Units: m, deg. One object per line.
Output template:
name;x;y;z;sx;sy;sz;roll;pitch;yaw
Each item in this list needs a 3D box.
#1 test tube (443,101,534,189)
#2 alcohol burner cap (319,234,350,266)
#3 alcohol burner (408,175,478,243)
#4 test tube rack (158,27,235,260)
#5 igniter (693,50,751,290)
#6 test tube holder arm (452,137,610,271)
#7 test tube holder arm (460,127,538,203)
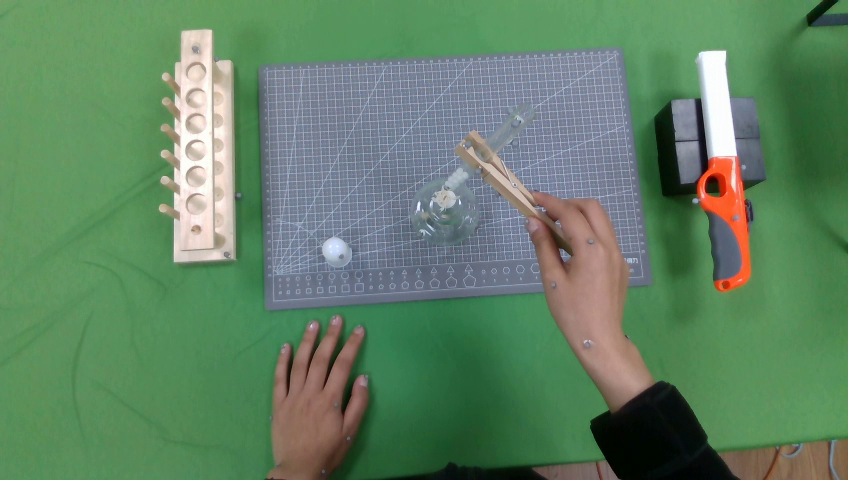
test tube;0.050;-0.076;0.521;0.017;0.150;0.017;7;70;-20
alcohol burner cap;-0.102;0.009;0.684;0.034;0.048;0.033;0;79;-2
alcohol burner;0.021;-0.037;0.660;0.078;0.119;0.077;0;81;-1
test tube rack;-0.258;-0.105;0.678;0.067;0.085;0.241;-3;81;-2
igniter;0.330;-0.082;0.679;0.057;0.025;0.275;-1;80;4
test tube holder arm;0.097;-0.029;0.536;0.179;0.015;0.013;40;60;-10
test tube holder arm;0.066;-0.063;0.532;0.088;0.015;0.010;47;59;-6
